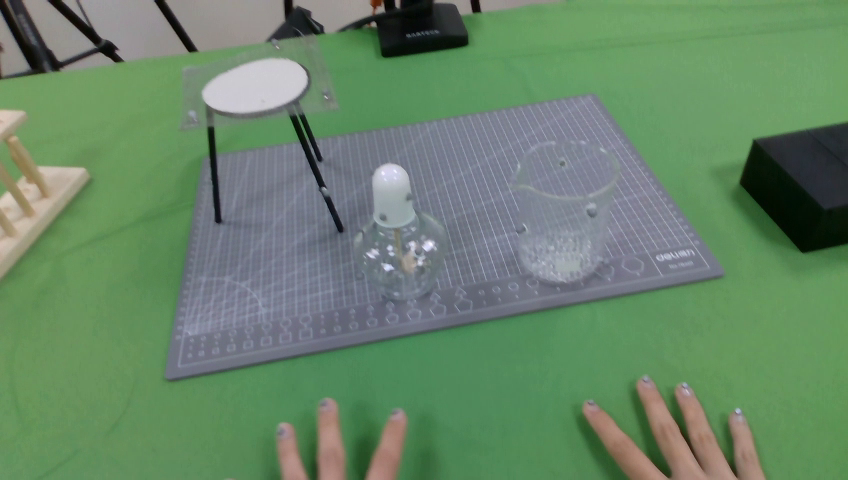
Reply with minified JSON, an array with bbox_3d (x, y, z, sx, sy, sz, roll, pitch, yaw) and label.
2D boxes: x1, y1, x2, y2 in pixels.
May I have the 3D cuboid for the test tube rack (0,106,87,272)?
[{"bbox_3d":[-0.423,-0.021,0.556,0.066,0.086,0.240,4,45,10],"label":"test tube rack"}]

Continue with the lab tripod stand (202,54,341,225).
[{"bbox_3d":[-0.140,-0.087,0.553,0.148,0.133,0.147,-3,46,4],"label":"lab tripod stand"}]

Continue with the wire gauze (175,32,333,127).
[{"bbox_3d":[-0.146,-0.135,0.506,0.125,0.011,0.120,-15,45,-7],"label":"wire gauze"}]

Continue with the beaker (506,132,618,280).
[{"bbox_3d":[0.107,-0.023,0.485,0.084,0.101,0.073,-13,44,-5],"label":"beaker"}]

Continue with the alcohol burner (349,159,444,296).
[{"bbox_3d":[-0.023,-0.012,0.478,0.078,0.120,0.077,-4,42,4],"label":"alcohol burner"}]

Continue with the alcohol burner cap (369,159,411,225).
[{"bbox_3d":[-0.027,-0.038,0.453,0.034,0.048,0.033,-1,42,2],"label":"alcohol burner cap"}]
